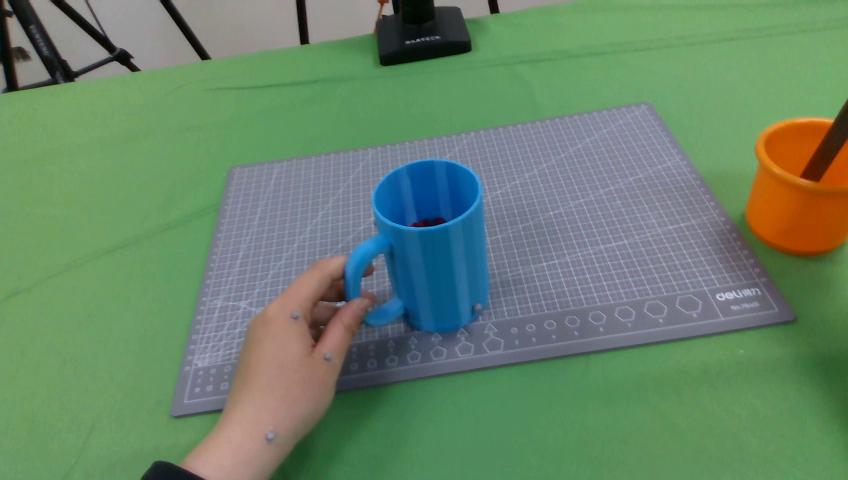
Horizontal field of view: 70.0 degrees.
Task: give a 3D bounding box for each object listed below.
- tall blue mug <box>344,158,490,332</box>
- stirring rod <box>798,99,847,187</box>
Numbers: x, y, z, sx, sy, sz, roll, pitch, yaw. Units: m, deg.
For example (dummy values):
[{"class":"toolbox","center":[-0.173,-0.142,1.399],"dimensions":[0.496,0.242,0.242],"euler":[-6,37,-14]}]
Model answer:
[{"class":"tall blue mug","center":[0.001,0.016,0.435],"dimensions":[0.077,0.109,0.106],"euler":[15,49,22]},{"class":"stirring rod","center":[0.286,-0.101,0.387],"dimensions":[0.006,0.178,0.014],"euler":[-31,56,-25]}]
